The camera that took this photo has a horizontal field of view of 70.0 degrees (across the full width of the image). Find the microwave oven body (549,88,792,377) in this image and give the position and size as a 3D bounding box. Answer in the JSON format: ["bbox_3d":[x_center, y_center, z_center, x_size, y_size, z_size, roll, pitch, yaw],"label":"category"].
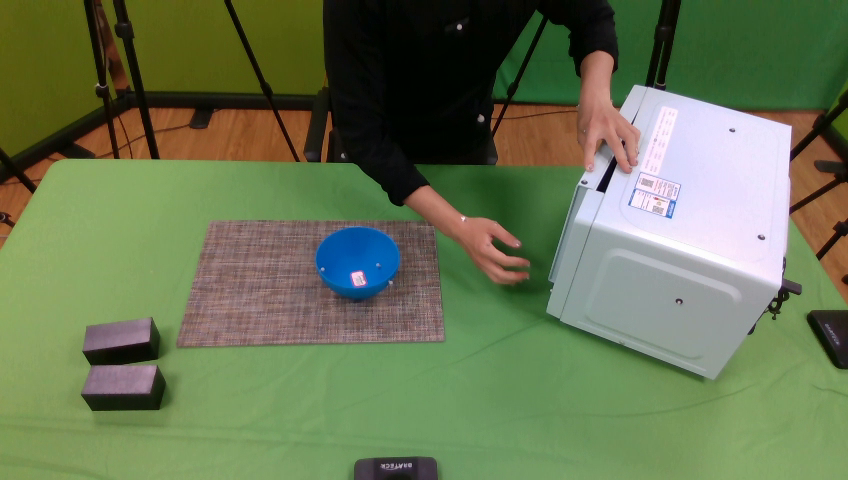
[{"bbox_3d":[0.456,-0.028,1.088,0.325,0.261,0.440,20,47,16],"label":"microwave oven body"}]

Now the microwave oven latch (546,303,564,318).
[{"bbox_3d":[0.242,0.102,1.081,0.030,0.029,0.079,22,48,17],"label":"microwave oven latch"}]

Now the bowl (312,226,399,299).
[{"bbox_3d":[-0.120,0.054,1.091,0.151,0.077,0.150,2,46,-2],"label":"bowl"}]

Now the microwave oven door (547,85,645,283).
[{"bbox_3d":[0.333,-0.110,1.151,0.039,0.245,0.355,23,49,17],"label":"microwave oven door"}]
